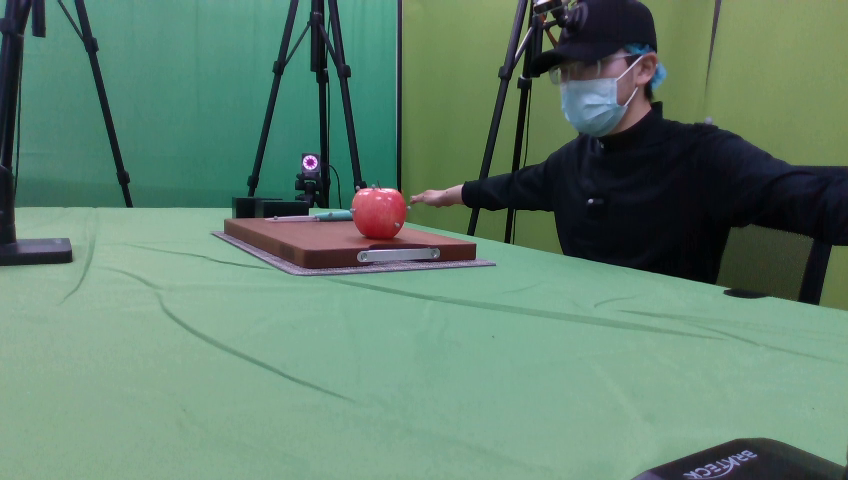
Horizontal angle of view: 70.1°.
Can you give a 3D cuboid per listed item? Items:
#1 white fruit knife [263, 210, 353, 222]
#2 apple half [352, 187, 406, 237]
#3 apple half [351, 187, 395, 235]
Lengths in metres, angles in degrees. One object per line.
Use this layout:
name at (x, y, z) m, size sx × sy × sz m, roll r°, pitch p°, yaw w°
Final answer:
white fruit knife at (-0.196, -0.042, 1.100) m, size 0.208 × 0.016 × 0.027 m, roll -6°, pitch -19°, yaw -41°
apple half at (-0.059, -0.039, 0.883) m, size 0.081 × 0.074 × 0.053 m, roll 2°, pitch 11°, yaw -39°
apple half at (-0.083, -0.046, 0.913) m, size 0.082 × 0.081 × 0.032 m, roll -3°, pitch 13°, yaw -38°
